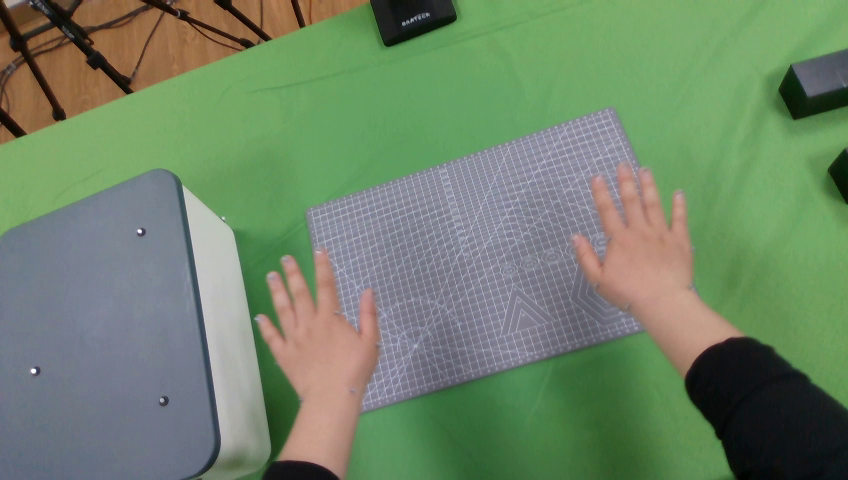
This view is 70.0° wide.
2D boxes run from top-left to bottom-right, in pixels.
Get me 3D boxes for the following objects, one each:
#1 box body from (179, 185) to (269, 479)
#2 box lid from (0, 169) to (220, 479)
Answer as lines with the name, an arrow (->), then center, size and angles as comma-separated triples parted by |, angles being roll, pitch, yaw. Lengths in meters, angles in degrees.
box body -> -0.358, 0.137, 0.749 | 0.254, 0.162, 0.361 | -20, 66, 4
box lid -> -0.374, 0.108, 0.682 | 0.263, 0.015, 0.368 | -21, 67, 4
